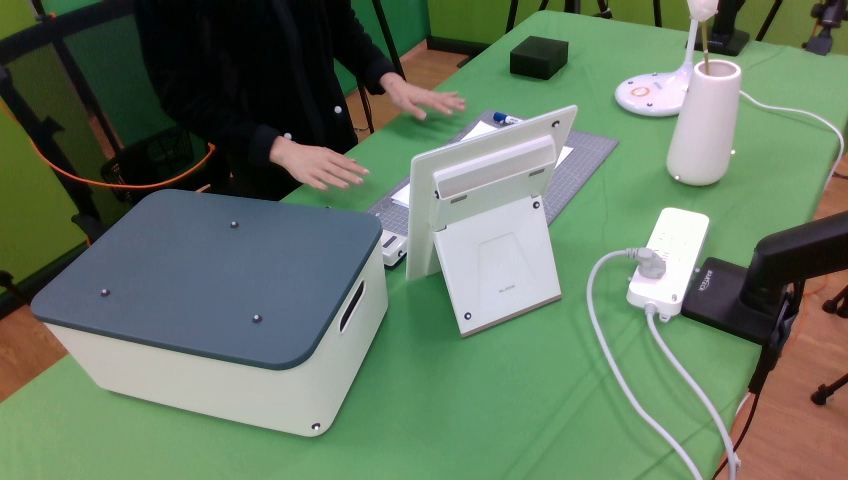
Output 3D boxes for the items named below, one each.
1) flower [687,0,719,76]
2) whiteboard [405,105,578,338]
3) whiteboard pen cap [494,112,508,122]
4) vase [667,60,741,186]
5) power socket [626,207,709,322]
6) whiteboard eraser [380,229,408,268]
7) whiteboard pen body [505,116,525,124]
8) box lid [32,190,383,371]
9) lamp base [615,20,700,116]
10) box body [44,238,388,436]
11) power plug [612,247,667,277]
[{"bbox_3d":[0.436,-0.242,0.934,0.038,0.364,0.043,-24,49,9],"label":"flower"},{"bbox_3d":[0.103,0.003,0.786,0.218,0.306,0.143,-19,62,-14],"label":"whiteboard"},{"bbox_3d":[0.161,-0.253,1.248,0.033,0.018,0.018,27,51,36],"label":"whiteboard pen cap"},{"bbox_3d":[0.463,-0.189,0.994,0.098,0.201,0.097,-4,40,4],"label":"vase"},{"bbox_3d":[0.360,0.026,0.886,0.072,0.033,0.227,17,46,27],"label":"power socket"},{"bbox_3d":[-0.081,0.007,0.963,0.112,0.042,0.056,19,48,27],"label":"whiteboard eraser"},{"bbox_3d":[0.203,-0.232,1.213,0.139,0.017,0.017,28,51,36],"label":"whiteboard pen body"},{"bbox_3d":[-0.257,0.032,0.750,0.370,0.015,0.263,7,41,16],"label":"box lid"},{"bbox_3d":[0.484,-0.364,1.211,0.180,0.181,0.159,-15,41,-14],"label":"lamp base"},{"bbox_3d":[-0.251,0.088,0.799,0.362,0.161,0.254,7,42,16],"label":"box body"},{"bbox_3d":[0.306,0.031,0.852,0.072,0.053,0.035,21,48,37],"label":"power plug"}]
